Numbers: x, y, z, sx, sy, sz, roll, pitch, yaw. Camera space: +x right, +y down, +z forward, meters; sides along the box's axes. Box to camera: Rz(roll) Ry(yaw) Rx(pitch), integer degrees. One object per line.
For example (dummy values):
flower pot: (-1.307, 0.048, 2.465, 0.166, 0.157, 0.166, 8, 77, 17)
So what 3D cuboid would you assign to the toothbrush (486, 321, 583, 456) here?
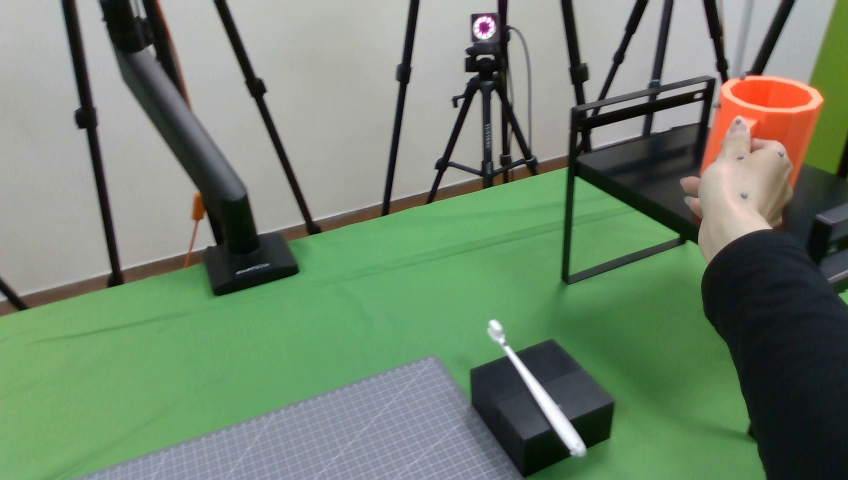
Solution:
toothbrush: (0.101, 0.135, 0.579, 0.014, 0.017, 0.180, -10, 32, -17)

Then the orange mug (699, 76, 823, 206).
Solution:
orange mug: (0.308, -0.089, 0.573, 0.082, 0.101, 0.126, 26, 42, 35)
